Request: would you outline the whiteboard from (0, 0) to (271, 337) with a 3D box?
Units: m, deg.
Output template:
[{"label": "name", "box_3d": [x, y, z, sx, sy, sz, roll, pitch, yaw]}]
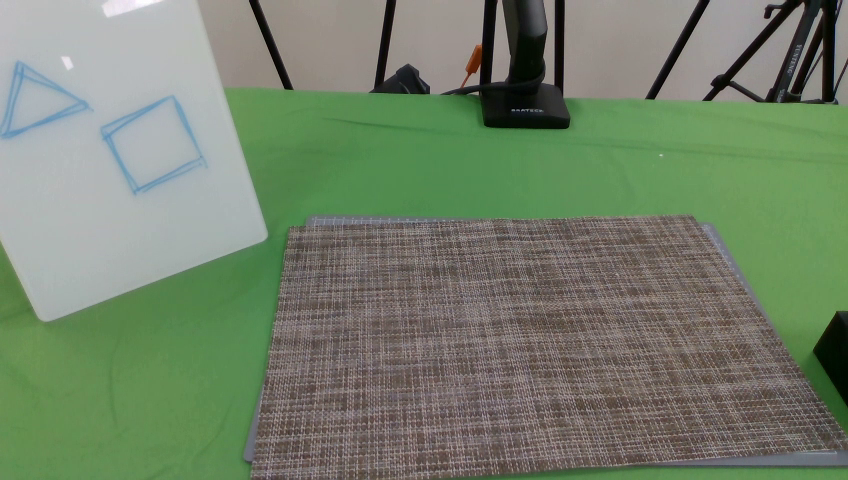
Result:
[{"label": "whiteboard", "box_3d": [-0.311, -0.106, 0.579, 0.217, 0.307, 0.142, -23, 25, -27]}]
